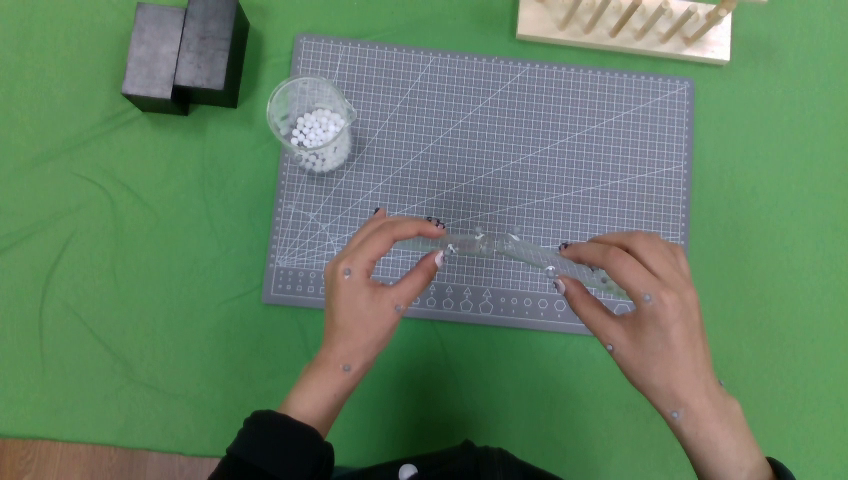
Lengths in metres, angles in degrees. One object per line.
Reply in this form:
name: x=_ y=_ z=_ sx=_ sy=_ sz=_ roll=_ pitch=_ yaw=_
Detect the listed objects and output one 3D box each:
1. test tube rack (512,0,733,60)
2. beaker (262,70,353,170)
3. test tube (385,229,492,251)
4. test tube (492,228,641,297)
test tube rack: x=0.225 y=-0.257 z=0.653 sx=0.242 sy=0.085 sz=0.066 roll=6 pitch=82 yaw=-2
beaker: x=-0.110 y=-0.115 z=0.608 sx=0.084 sy=0.100 sz=0.074 roll=-2 pitch=83 yaw=-4
test tube: x=0.006 y=-0.001 z=0.497 sx=0.017 sy=0.149 sz=0.017 roll=-1 pitch=92 yaw=-31
test tube: x=0.113 y=0.020 z=0.459 sx=0.152 sy=0.017 sz=0.017 roll=19 pitch=81 yaw=-30
